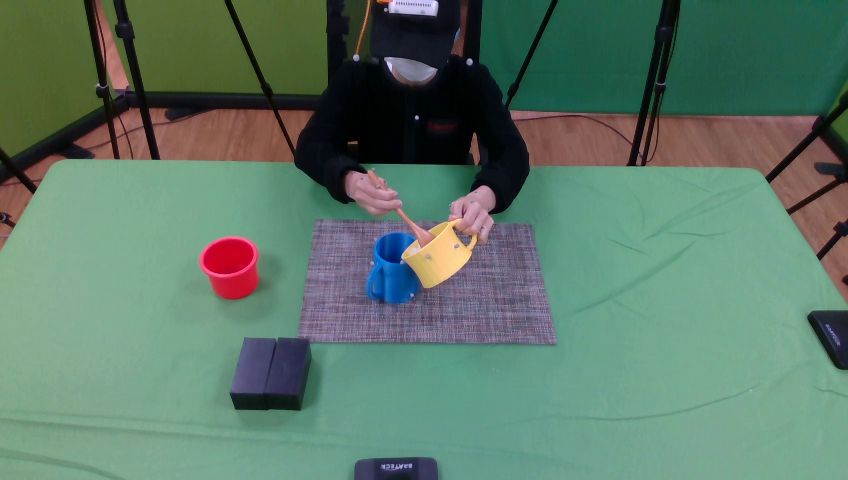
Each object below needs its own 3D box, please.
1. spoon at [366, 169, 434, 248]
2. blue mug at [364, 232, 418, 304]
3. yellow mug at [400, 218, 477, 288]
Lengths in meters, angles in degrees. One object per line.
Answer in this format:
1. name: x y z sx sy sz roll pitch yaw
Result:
1. spoon: -0.034 -0.038 1.003 0.041 0.021 0.194 -43 95 -25
2. blue mug: -0.063 0.059 1.074 0.082 0.106 0.116 35 53 27
3. yellow mug: 0.030 0.014 1.002 0.131 0.099 0.064 -37 101 -8
